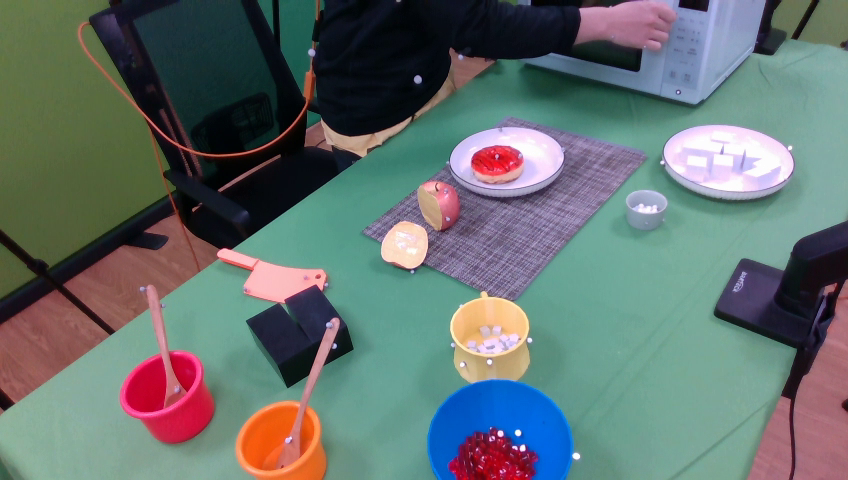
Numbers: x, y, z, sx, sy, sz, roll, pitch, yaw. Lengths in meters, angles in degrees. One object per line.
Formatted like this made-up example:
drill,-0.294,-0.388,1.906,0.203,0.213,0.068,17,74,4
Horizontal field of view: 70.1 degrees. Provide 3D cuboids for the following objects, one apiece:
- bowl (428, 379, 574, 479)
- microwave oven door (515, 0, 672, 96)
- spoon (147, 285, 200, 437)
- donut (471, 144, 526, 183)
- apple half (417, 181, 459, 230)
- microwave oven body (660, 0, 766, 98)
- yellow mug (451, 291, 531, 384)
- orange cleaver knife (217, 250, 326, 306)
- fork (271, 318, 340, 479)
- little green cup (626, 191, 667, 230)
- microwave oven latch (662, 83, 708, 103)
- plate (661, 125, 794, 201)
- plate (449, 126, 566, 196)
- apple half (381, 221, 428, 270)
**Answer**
bowl,0.083,0.233,0.644,0.151,0.077,0.150,-4,39,4
microwave oven door,0.344,-0.455,1.259,0.353,0.245,0.039,26,51,33
spoon,-0.318,0.148,0.754,0.042,0.021,0.193,-15,85,-8
donut,0.133,-0.139,1.083,0.099,0.048,0.098,-5,38,4
apple half,0.030,-0.060,0.995,0.053,0.075,0.080,-23,39,-22
microwave oven body,0.472,-0.513,1.317,0.438,0.261,0.327,26,51,34
yellow mug,0.085,0.120,0.786,0.100,0.064,0.130,-7,39,1
orange cleaver knife,-0.248,0.059,0.945,0.210,0.012,0.077,12,49,20
fork,-0.132,0.186,0.676,0.028,0.019,0.207,17,90,28
little green cup,0.352,-0.046,0.963,0.061,0.039,0.061,-4,40,4
microwave oven latch,0.518,-0.297,1.204,0.078,0.029,0.030,28,52,35
plate,0.514,-0.128,1.035,0.207,0.039,0.206,-4,40,4
plate,0.150,-0.138,1.096,0.209,0.038,0.208,-4,40,4
apple half,-0.024,0.012,0.946,0.081,0.033,0.081,-5,73,16
